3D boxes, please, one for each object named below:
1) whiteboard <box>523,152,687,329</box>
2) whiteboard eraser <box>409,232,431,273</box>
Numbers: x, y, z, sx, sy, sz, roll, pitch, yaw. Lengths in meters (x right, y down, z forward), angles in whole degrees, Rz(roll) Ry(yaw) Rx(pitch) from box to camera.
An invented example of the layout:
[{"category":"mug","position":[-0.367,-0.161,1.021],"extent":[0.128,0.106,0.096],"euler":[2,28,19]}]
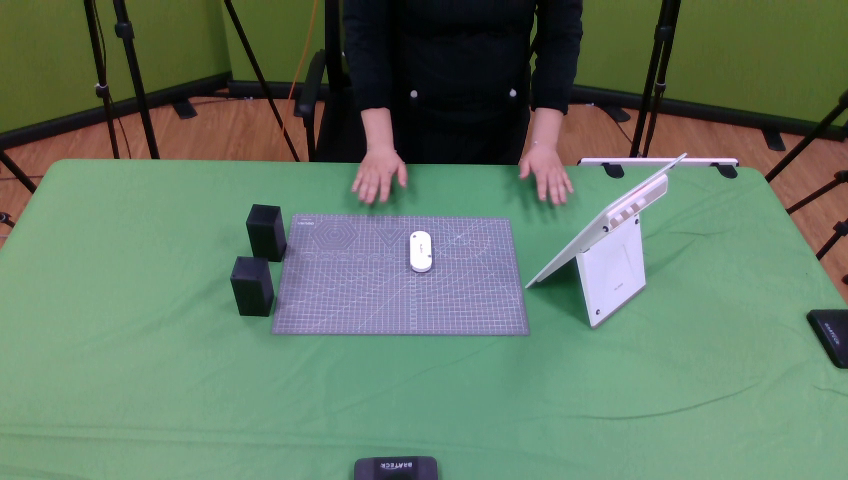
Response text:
[{"category":"whiteboard","position":[0.346,0.024,1.047],"extent":[0.217,0.306,0.143],"euler":[-30,74,-29]},{"category":"whiteboard eraser","position":[-0.008,0.023,1.172],"extent":[0.041,0.019,0.100],"euler":[1,45,-2]}]
